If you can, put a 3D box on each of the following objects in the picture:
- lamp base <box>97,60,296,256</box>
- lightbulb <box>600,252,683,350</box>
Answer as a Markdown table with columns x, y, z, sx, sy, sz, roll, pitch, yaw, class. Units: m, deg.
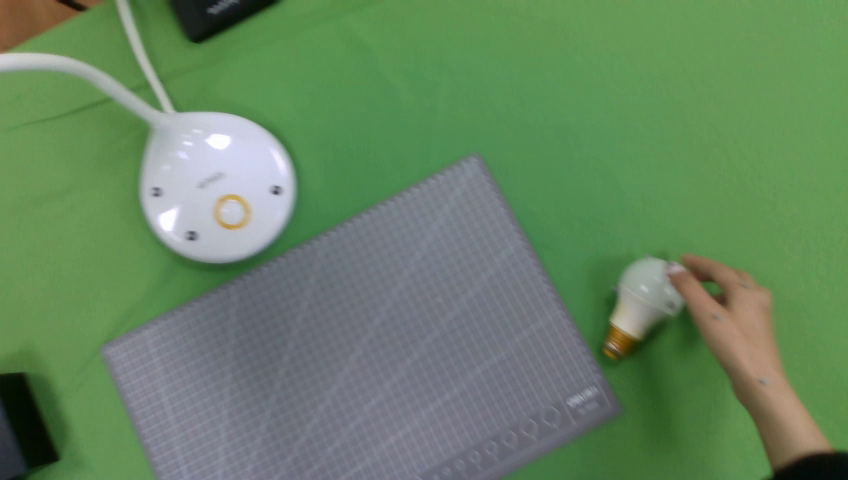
| x | y | z | sx | sy | sz | roll | pitch | yaw | class |
| --- | --- | --- | --- | --- | --- | --- | --- | --- | --- |
| -0.228 | -0.083 | 0.568 | 0.160 | 0.181 | 0.178 | -41 | 79 | -3 | lamp base |
| 0.210 | 0.062 | 0.599 | 0.059 | 0.059 | 0.108 | 32 | 101 | 6 | lightbulb |
